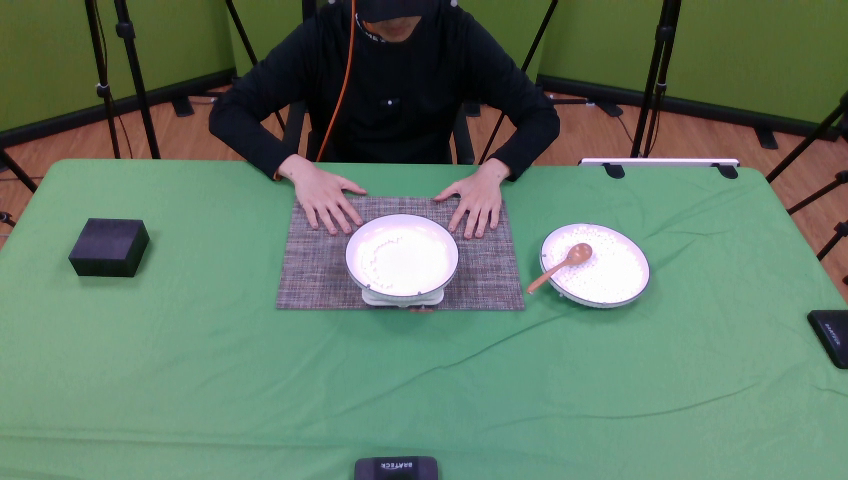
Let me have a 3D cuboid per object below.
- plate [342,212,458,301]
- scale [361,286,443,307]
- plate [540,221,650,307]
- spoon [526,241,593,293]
[{"bbox_3d":[-0.043,0.033,1.105,0.208,0.039,0.206,2,46,-2],"label":"plate"},{"bbox_3d":[-0.042,0.040,1.143,0.149,0.032,0.199,0,46,-4],"label":"scale"},{"bbox_3d":[0.325,0.048,1.164,0.209,0.038,0.208,2,46,-2],"label":"plate"},{"bbox_3d":[0.253,0.050,1.134,0.194,0.022,0.041,-27,53,-35],"label":"spoon"}]
